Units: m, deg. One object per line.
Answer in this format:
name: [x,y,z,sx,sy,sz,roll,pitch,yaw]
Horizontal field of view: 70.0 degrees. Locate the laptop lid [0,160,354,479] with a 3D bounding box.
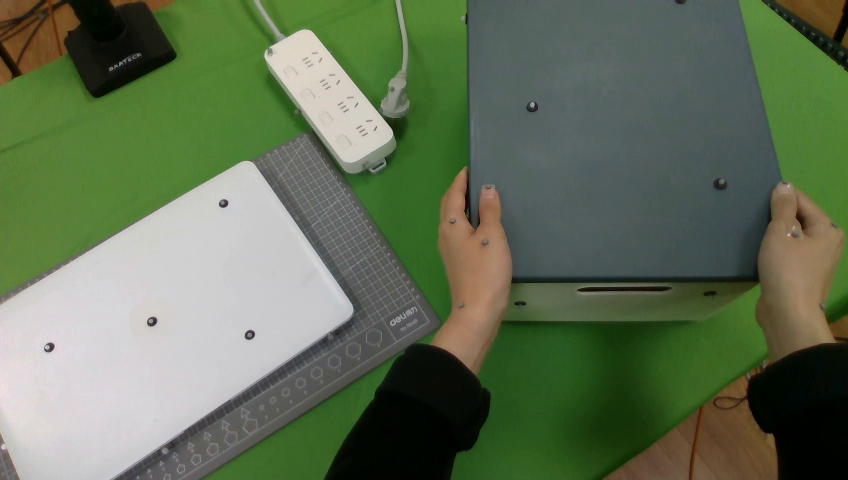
laptop lid: [-0.278,0.085,0.632,0.357,0.013,0.240,-32,70,-10]

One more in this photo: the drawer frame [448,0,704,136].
drawer frame: [0.153,-0.144,0.619,0.203,0.212,0.082,32,83,-19]

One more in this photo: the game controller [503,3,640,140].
game controller: [0.158,-0.188,0.645,0.097,0.052,0.154,-24,66,-5]

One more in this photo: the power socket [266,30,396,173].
power socket: [-0.116,-0.173,0.742,0.072,0.033,0.225,-33,68,-12]

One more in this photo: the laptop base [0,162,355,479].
laptop base: [-0.278,0.088,0.644,0.354,0.023,0.234,-34,72,-11]

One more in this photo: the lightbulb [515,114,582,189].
lightbulb: [0.131,-0.101,0.664,0.059,0.060,0.106,-22,53,-6]

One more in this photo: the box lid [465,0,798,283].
box lid: [0.171,-0.137,0.555,0.263,0.015,0.368,-1,67,3]

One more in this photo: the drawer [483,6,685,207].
drawer: [0.165,-0.145,0.667,0.194,0.074,0.210,-3,72,6]

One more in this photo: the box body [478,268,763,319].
box body: [0.175,-0.105,0.622,0.254,0.161,0.361,-1,66,3]

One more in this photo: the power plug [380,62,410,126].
power plug: [-0.025,-0.174,0.733,0.035,0.053,0.072,25,52,18]
